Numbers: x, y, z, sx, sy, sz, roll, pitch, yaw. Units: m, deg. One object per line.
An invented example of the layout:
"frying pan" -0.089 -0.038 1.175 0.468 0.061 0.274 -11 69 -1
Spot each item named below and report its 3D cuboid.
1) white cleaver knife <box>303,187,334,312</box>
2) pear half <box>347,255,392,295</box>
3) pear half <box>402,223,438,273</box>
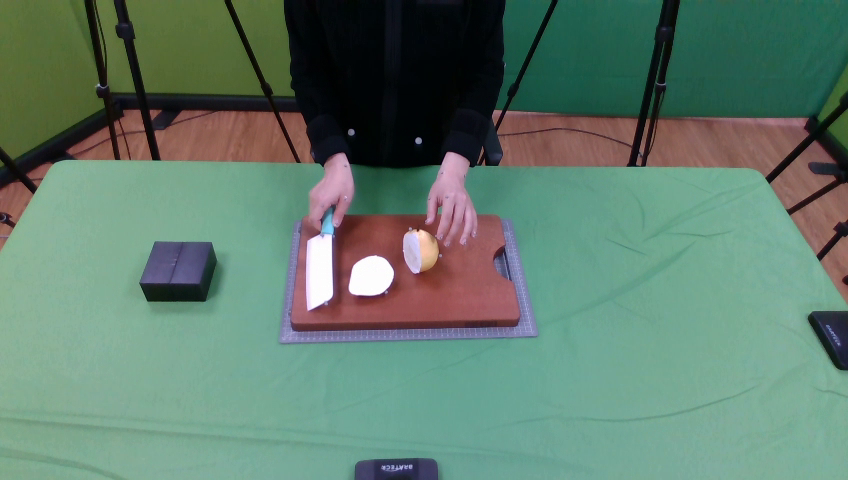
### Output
"white cleaver knife" -0.197 0.006 1.119 0.066 0.022 0.284 -21 47 16
"pear half" -0.099 0.069 1.075 0.088 0.031 0.070 -39 75 -18
"pear half" -0.002 0.005 1.093 0.056 0.110 0.076 -24 56 -25
